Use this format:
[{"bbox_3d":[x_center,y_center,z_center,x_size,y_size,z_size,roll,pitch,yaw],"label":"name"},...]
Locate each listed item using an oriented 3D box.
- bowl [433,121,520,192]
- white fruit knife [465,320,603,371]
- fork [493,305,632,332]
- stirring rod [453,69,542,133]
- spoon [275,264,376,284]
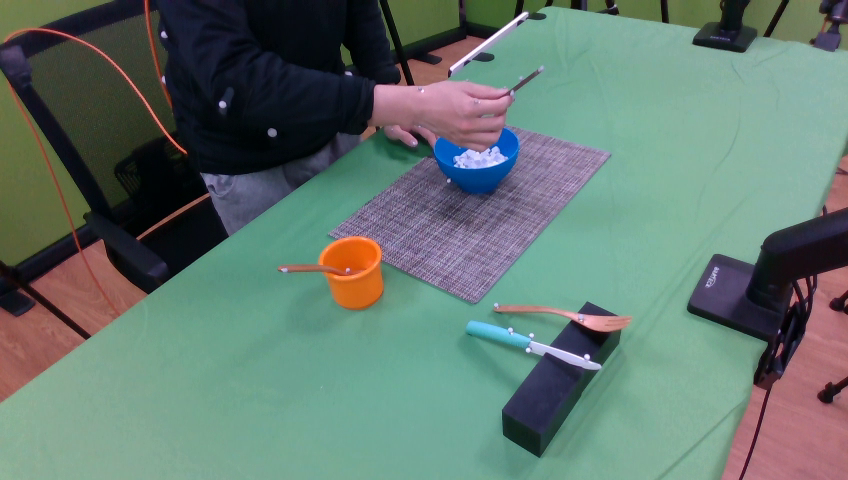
[{"bbox_3d":[0.094,-0.137,1.064,0.151,0.077,0.150,-4,41,4],"label":"bowl"},{"bbox_3d":[0.128,0.129,0.749,0.205,0.027,0.016,10,44,43],"label":"white fruit knife"},{"bbox_3d":[0.171,0.097,0.783,0.205,0.019,0.028,4,40,43],"label":"fork"},{"bbox_3d":[0.100,-0.194,0.859,0.175,0.006,0.014,-29,3,46],"label":"stirring rod"},{"bbox_3d":[-0.133,0.044,0.840,0.041,0.195,0.021,25,95,33],"label":"spoon"}]
